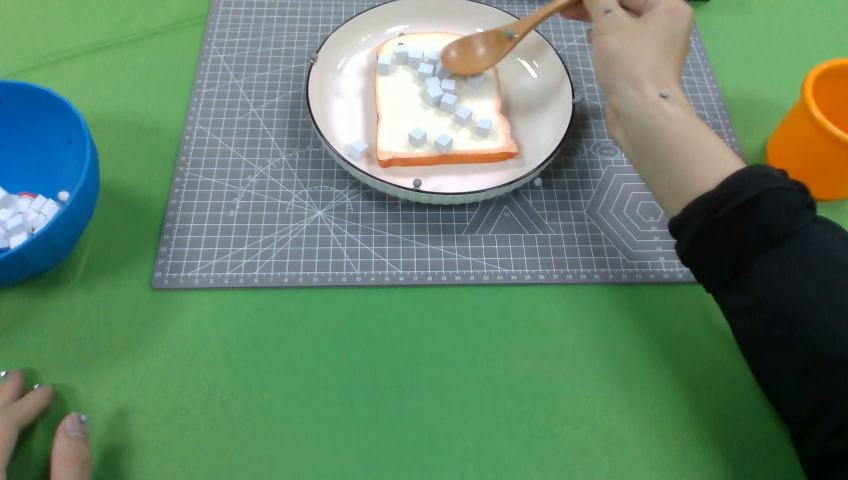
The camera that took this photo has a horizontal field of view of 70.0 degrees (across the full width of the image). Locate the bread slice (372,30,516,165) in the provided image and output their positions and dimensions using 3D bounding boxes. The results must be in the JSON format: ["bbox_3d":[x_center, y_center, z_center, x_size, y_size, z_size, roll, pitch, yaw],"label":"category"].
[{"bbox_3d":[0.007,-0.117,0.488,0.107,0.018,0.133,-6,62,-7],"label":"bread slice"}]

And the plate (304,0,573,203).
[{"bbox_3d":[0.011,-0.114,0.484,0.209,0.038,0.207,1,61,-2],"label":"plate"}]

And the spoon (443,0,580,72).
[{"bbox_3d":[0.104,-0.174,0.451,0.193,0.022,0.041,-23,55,20],"label":"spoon"}]

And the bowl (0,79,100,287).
[{"bbox_3d":[-0.281,-0.023,0.398,0.151,0.077,0.150,1,60,-2],"label":"bowl"}]
